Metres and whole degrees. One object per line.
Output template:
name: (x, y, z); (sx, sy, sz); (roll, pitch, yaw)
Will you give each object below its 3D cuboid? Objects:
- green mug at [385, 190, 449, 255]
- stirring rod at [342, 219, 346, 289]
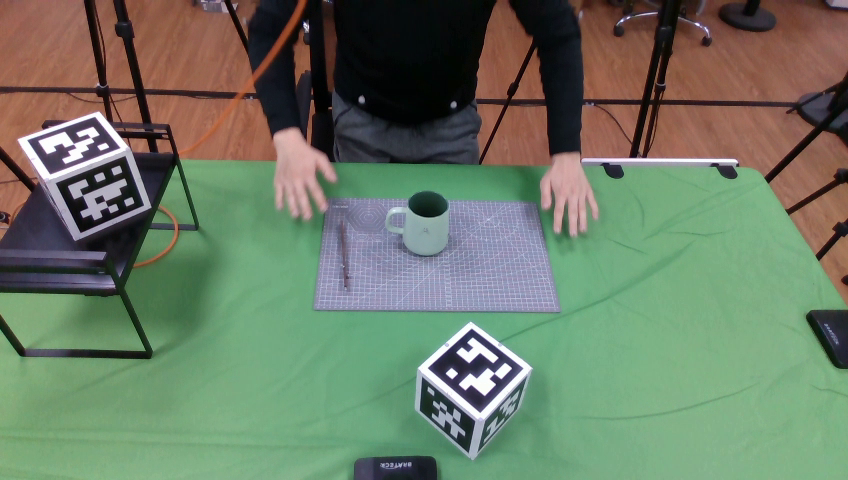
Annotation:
green mug: (-0.013, -0.033, 1.166); (0.125, 0.105, 0.092); (2, 46, -2)
stirring rod: (-0.154, 0.024, 1.162); (0.006, 0.014, 0.175); (-6, 47, -2)
